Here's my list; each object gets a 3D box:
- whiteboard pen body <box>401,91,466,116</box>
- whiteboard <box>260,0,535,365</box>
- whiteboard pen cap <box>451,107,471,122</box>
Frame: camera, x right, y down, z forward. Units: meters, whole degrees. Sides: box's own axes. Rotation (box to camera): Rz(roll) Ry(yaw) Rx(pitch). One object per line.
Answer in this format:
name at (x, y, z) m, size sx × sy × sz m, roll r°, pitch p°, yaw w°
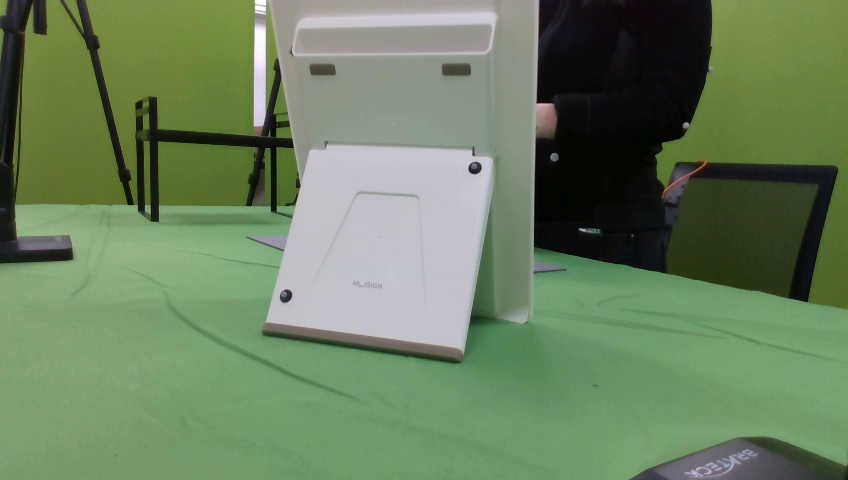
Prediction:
whiteboard pen body at (0.016, -0.226, 1.010) m, size 0.140 × 0.017 × 0.017 m, roll 27°, pitch 21°, yaw 35°
whiteboard at (-0.037, -0.041, 0.457) m, size 0.216 × 0.305 × 0.144 m, roll 5°, pitch 28°, yaw 19°
whiteboard pen cap at (0.059, -0.203, 0.978) m, size 0.033 × 0.018 × 0.018 m, roll 30°, pitch 22°, yaw 32°
